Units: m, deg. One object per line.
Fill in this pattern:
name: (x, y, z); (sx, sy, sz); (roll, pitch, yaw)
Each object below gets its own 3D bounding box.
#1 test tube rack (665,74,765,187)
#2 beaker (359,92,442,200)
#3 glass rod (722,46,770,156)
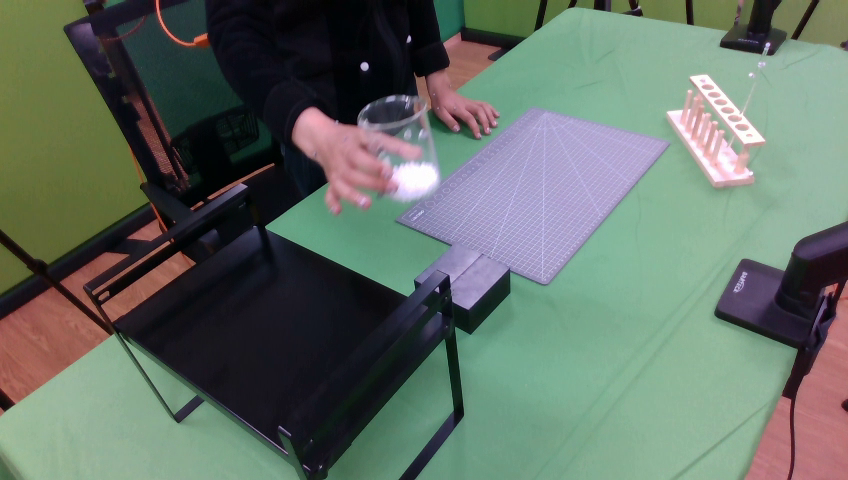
test tube rack: (0.512, -0.201, 1.082); (0.067, 0.085, 0.241); (-6, 41, 2)
beaker: (-0.021, -0.103, 0.663); (0.073, 0.101, 0.084); (4, 39, 23)
glass rod: (0.533, -0.226, 1.006); (0.008, 0.200, 0.008); (1, 41, -1)
